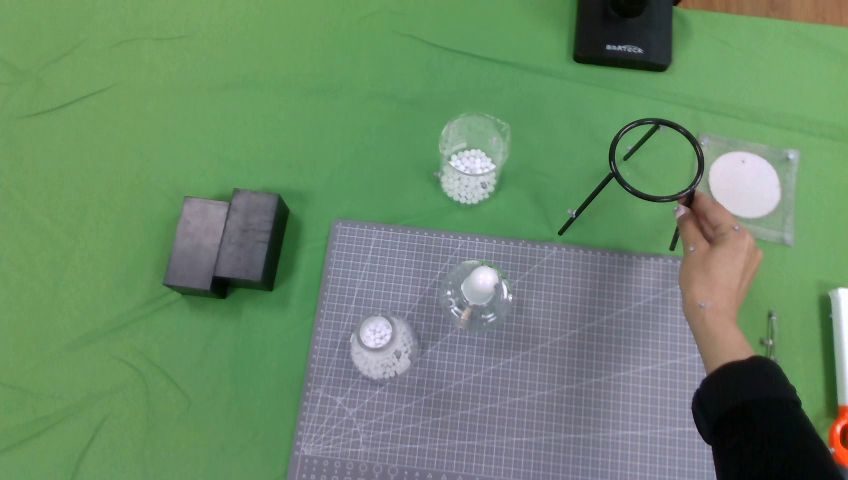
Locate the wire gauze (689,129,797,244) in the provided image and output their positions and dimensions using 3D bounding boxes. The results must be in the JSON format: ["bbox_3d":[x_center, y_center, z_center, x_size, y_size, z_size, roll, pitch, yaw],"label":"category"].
[{"bbox_3d":[0.378,-0.067,0.717,0.125,0.011,0.121,14,75,2],"label":"wire gauze"}]

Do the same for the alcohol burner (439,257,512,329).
[{"bbox_3d":[0.055,0.051,0.624,0.078,0.119,0.077,1,73,-2],"label":"alcohol burner"}]

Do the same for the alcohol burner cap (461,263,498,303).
[{"bbox_3d":[0.056,0.040,0.590,0.034,0.048,0.033,3,68,-8],"label":"alcohol burner cap"}]

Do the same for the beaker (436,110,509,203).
[{"bbox_3d":[0.053,-0.090,0.675,0.084,0.101,0.073,-33,77,-9],"label":"beaker"}]

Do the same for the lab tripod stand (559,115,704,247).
[{"bbox_3d":[0.221,-0.056,0.638,0.148,0.132,0.147,0,72,2],"label":"lab tripod stand"}]

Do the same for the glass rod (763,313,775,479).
[{"bbox_3d":[0.369,0.175,0.648,0.008,0.008,0.198,11,74,3],"label":"glass rod"}]

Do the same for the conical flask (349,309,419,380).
[{"bbox_3d":[-0.043,0.099,0.606,0.075,0.122,0.075,0,74,0],"label":"conical flask"}]

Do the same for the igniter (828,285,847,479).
[{"bbox_3d":[0.451,0.184,0.636,0.057,0.025,0.275,10,74,-9],"label":"igniter"}]
